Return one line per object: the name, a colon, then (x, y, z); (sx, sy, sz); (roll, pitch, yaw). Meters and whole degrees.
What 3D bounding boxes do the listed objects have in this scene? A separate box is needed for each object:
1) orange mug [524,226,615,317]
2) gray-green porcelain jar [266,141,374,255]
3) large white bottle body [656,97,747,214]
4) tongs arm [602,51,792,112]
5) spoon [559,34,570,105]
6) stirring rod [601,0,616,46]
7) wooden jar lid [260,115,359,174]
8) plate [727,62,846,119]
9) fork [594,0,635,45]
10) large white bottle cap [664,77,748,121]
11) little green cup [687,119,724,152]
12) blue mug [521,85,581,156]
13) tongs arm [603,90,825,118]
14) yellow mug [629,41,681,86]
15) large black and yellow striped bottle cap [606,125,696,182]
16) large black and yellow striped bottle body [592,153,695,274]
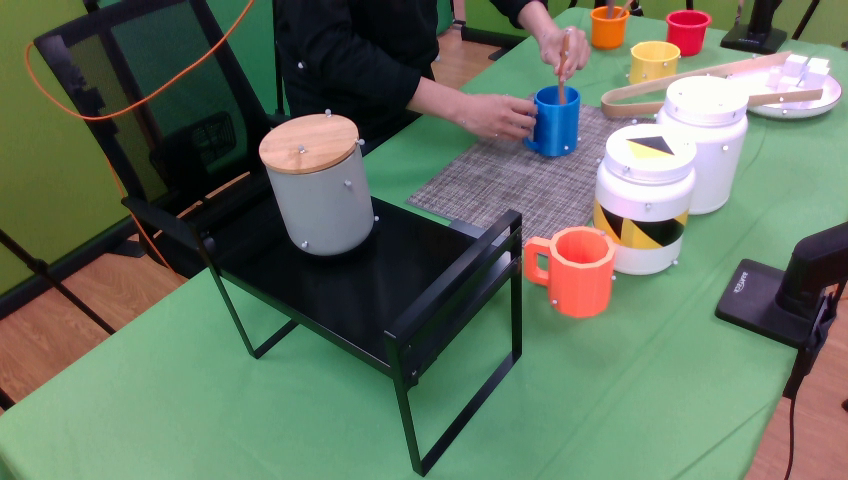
orange mug: (0.201, 0.039, 0.845); (0.125, 0.101, 0.083); (18, 46, 21)
gray-green porcelain jar: (-0.117, -0.054, 0.703); (0.106, 0.127, 0.105); (-4, 40, 4)
large white bottle body: (0.431, -0.148, 0.959); (0.130, 0.185, 0.130); (-4, 41, 4)
tongs arm: (0.552, -0.320, 1.224); (0.384, 0.027, 0.050); (-10, 43, 7)
spoon: (0.246, -0.270, 1.066); (0.021, 0.195, 0.041); (17, 50, 28)
stirring rod: (0.452, -0.554, 1.464); (0.014, 0.006, 0.176); (11, 86, 15)
wooden jar lid: (-0.124, -0.101, 0.662); (0.108, 0.021, 0.108); (-4, 41, 4)
plate: (0.709, -0.292, 1.197); (0.207, 0.039, 0.206); (-4, 40, 4)
fork: (0.484, -0.552, 1.447); (0.207, 0.019, 0.028); (-51, 46, 17)
large white bottle cap: (0.421, -0.212, 0.905); (0.115, 0.018, 0.114); (-4, 40, 4)
little green cup: (0.514, -0.191, 1.109); (0.061, 0.039, 0.061); (-5, 40, 5)
blue mug: (0.233, -0.218, 1.127); (0.117, 0.106, 0.081); (-21, 42, -14)
tongs arm: (0.546, -0.262, 1.163); (0.386, 0.028, 0.028); (-1, 49, 18)
yellow mug: (0.495, -0.389, 1.321); (0.100, 0.064, 0.130); (-14, 40, -6)
large black and yellow striped bottle cap: (0.305, -0.119, 0.816); (0.115, 0.019, 0.114); (-5, 41, 5)
large black and yellow striped bottle body: (0.313, -0.056, 0.872); (0.131, 0.185, 0.130); (-4, 41, 4)
